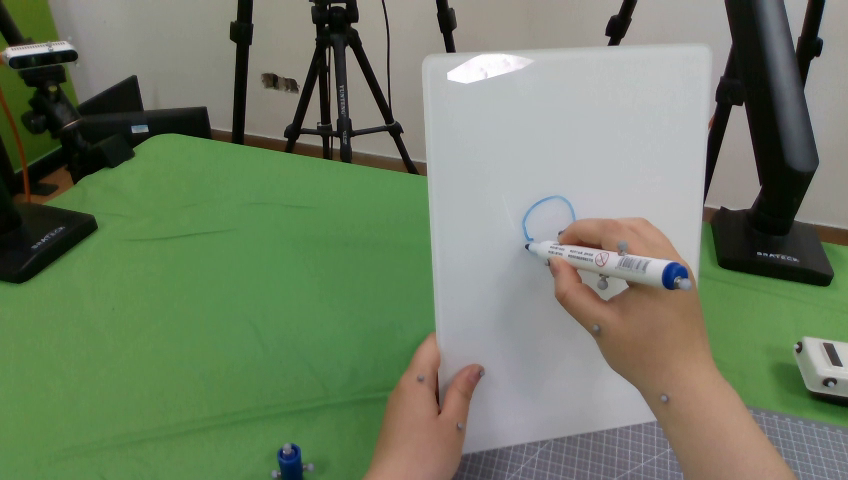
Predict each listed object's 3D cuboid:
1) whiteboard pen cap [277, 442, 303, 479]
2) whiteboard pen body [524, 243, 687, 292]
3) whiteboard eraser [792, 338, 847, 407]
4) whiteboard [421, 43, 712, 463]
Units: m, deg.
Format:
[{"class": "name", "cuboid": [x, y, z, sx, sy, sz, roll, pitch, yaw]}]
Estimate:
[{"class": "whiteboard pen cap", "cuboid": [-0.100, 0.167, 0.450, 0.018, 0.033, 0.018, 2, 35, -1]}, {"class": "whiteboard pen body", "cuboid": [0.104, 0.014, 0.381, 0.017, 0.017, 0.140, -16, 13, -24]}, {"class": "whiteboard eraser", "cuboid": [0.393, 0.123, 0.535, 0.112, 0.042, 0.055, 9, 37, 9]}, {"class": "whiteboard", "cuboid": [0.099, 0.000, 0.518, 0.218, 0.306, 0.143, -6, 15, -10]}]
